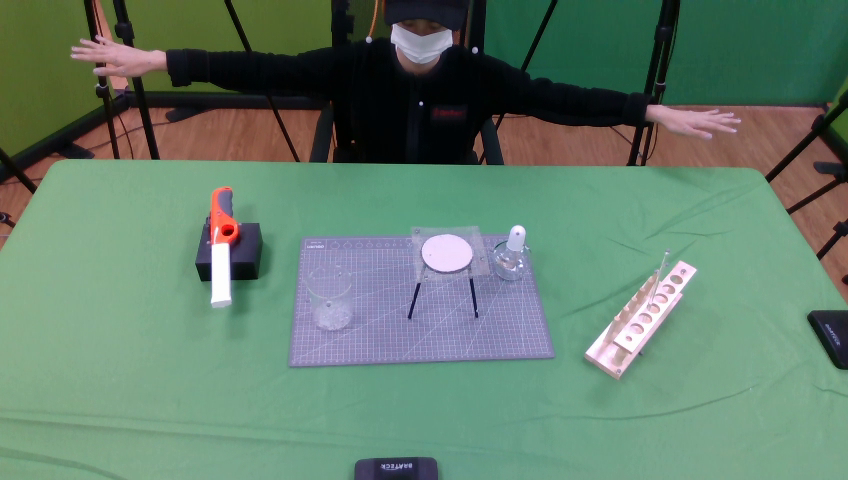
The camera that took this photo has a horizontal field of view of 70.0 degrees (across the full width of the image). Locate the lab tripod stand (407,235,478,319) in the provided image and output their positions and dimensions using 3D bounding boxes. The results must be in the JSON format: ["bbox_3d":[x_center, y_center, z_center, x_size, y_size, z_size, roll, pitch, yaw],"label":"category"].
[{"bbox_3d":[0.032,0.065,1.057,0.148,0.132,0.147,1,45,-1],"label":"lab tripod stand"}]

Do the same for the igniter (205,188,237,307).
[{"bbox_3d":[-0.367,0.004,1.097,0.057,0.025,0.274,-7,50,-11],"label":"igniter"}]

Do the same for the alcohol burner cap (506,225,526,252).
[{"bbox_3d":[0.169,-0.005,1.099,0.034,0.048,0.033,3,42,-3],"label":"alcohol burner cap"}]

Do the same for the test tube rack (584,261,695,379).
[{"bbox_3d":[0.380,0.127,1.062,0.066,0.085,0.242,34,53,26],"label":"test tube rack"}]

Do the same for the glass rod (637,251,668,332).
[{"bbox_3d":[0.378,0.090,1.005,0.008,0.201,0.008,-1,44,1],"label":"glass rod"}]

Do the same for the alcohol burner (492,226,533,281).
[{"bbox_3d":[0.166,0.020,1.125,0.078,0.120,0.077,1,46,-1],"label":"alcohol burner"}]

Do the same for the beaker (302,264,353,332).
[{"bbox_3d":[-0.162,0.101,1.030,0.084,0.101,0.073,4,46,0],"label":"beaker"}]

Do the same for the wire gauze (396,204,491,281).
[{"bbox_3d":[0.032,0.004,0.999,0.125,0.011,0.120,-22,54,-14],"label":"wire gauze"}]
